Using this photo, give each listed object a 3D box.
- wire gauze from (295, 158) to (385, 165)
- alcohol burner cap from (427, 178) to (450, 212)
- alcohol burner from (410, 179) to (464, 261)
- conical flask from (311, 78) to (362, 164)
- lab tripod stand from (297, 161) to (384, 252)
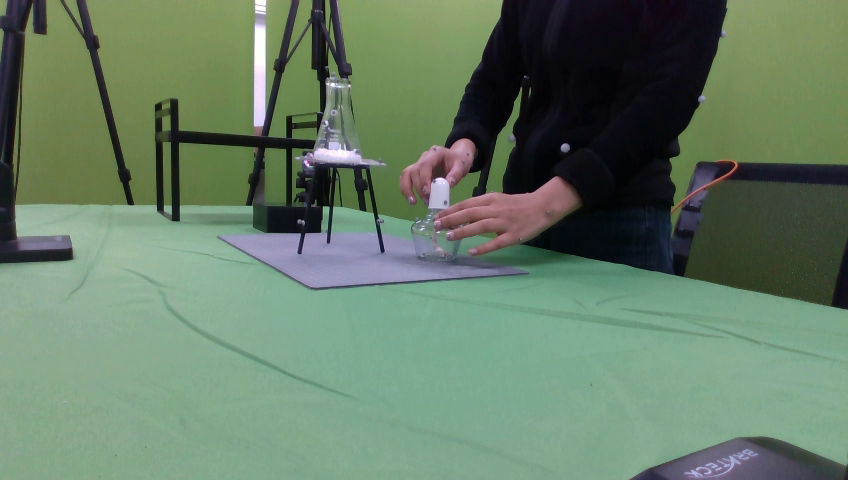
[{"bbox_3d":[-0.128,-0.117,0.901,0.125,0.011,0.121,-2,8,-14],"label":"wire gauze"},{"bbox_3d":[0.022,-0.064,0.860,0.034,0.048,0.034,3,1,0],"label":"alcohol burner cap"},{"bbox_3d":[0.020,-0.029,0.864,0.078,0.119,0.078,5,6,0],"label":"alcohol burner"},{"bbox_3d":[-0.128,-0.174,0.890,0.075,0.122,0.075,3,8,0],"label":"conical flask"},{"bbox_3d":[-0.130,-0.051,0.903,0.148,0.131,0.148,3,9,0],"label":"lab tripod stand"}]
